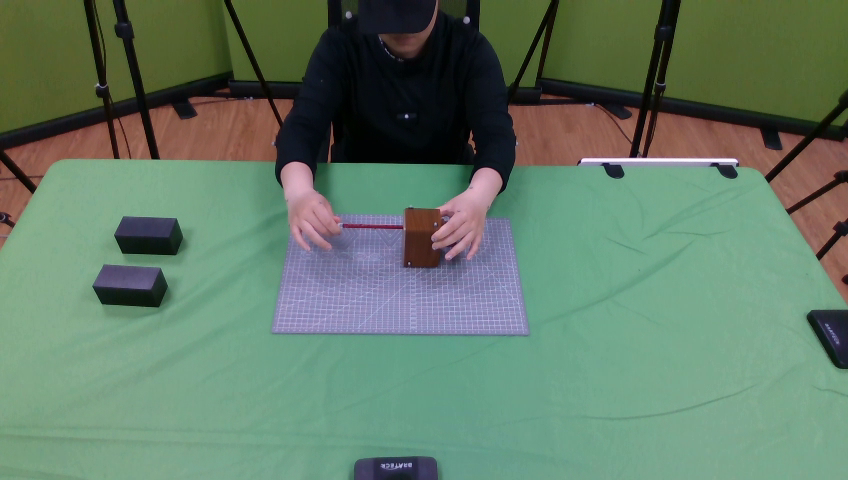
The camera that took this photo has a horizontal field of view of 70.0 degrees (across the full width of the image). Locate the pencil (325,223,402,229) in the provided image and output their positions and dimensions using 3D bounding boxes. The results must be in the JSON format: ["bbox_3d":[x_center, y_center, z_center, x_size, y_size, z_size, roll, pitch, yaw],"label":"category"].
[{"bbox_3d":[-0.084,-0.024,1.113,0.194,0.012,0.012,1,45,-5],"label":"pencil"}]

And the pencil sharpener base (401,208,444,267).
[{"bbox_3d":[-0.004,-0.003,1.137,0.077,0.107,0.061,1,45,-4],"label":"pencil sharpener base"}]

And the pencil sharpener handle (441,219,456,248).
[{"bbox_3d":[0.047,-0.010,1.131,0.031,0.068,0.036,1,44,-4],"label":"pencil sharpener handle"}]
